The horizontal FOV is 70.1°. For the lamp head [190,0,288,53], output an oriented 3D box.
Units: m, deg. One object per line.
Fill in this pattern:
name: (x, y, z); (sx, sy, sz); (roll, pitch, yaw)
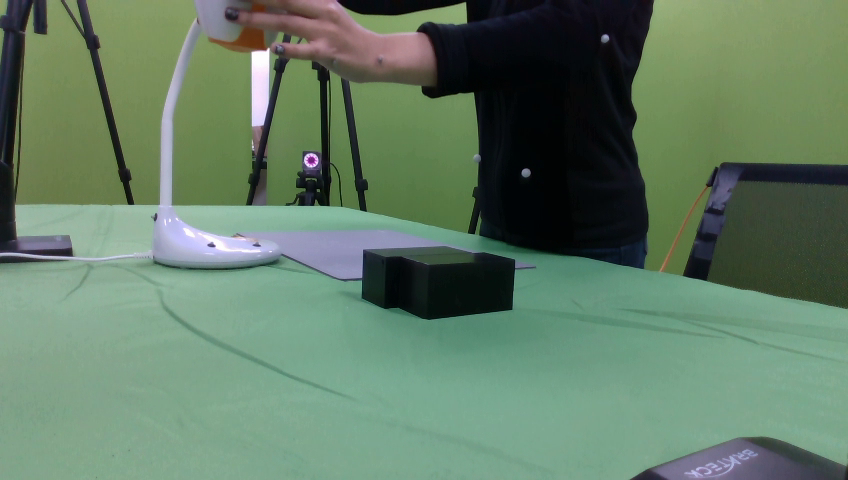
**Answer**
lamp head: (-0.188, -0.253, 0.607); (0.112, 0.123, 0.112); (10, 20, -3)

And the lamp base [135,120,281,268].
lamp base: (-0.276, -0.061, 0.773); (0.180, 0.180, 0.160); (-9, 13, -44)

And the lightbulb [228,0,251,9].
lightbulb: (-0.176, -0.282, 0.591); (0.059, 0.107, 0.059); (13, 18, -4)
